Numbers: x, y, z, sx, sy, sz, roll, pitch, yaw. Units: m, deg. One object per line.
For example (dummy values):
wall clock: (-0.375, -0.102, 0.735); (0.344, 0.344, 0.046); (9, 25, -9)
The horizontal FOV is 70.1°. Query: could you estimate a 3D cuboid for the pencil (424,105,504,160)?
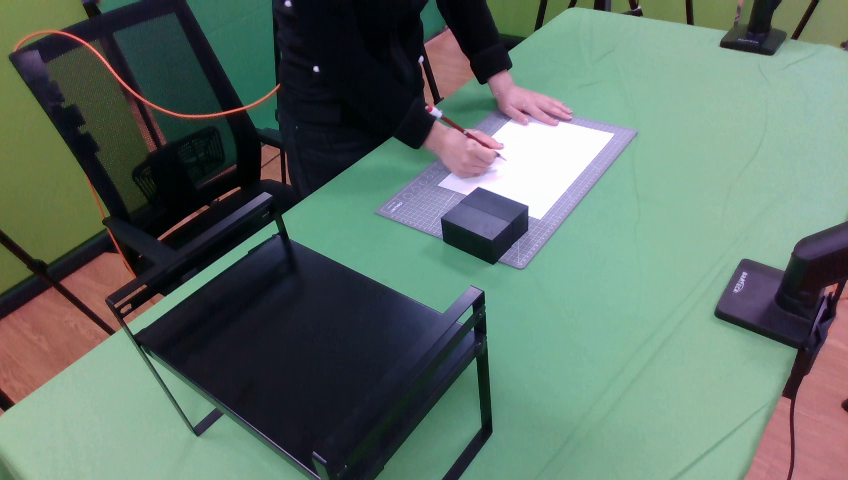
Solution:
pencil: (0.075, -0.184, 1.058); (0.012, 0.196, 0.012); (-33, 43, 38)
